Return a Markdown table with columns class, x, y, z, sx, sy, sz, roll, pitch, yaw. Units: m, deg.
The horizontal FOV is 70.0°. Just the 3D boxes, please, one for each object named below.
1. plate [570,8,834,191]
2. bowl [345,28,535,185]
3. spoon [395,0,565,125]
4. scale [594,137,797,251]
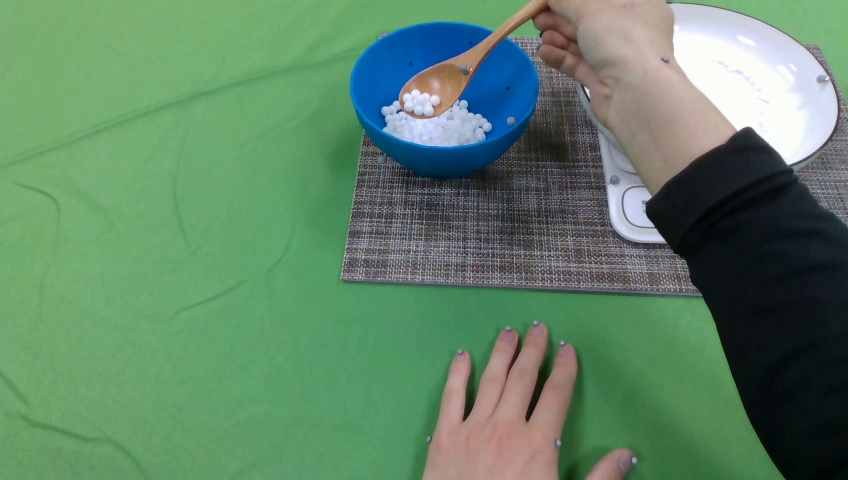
| class | x | y | z | sx | sy | sz | roll | pitch | yaw |
| --- | --- | --- | --- | --- | --- | --- | --- | --- | --- |
| plate | 0.224 | -0.118 | 0.507 | 0.209 | 0.038 | 0.207 | 0 | 55 | 0 |
| bowl | 0.014 | -0.099 | 0.508 | 0.151 | 0.077 | 0.150 | 0 | 54 | 1 |
| spoon | 0.059 | -0.149 | 0.450 | 0.194 | 0.022 | 0.041 | -35 | 69 | 17 |
| scale | 0.223 | -0.080 | 0.521 | 0.148 | 0.032 | 0.199 | 2 | 55 | 2 |
